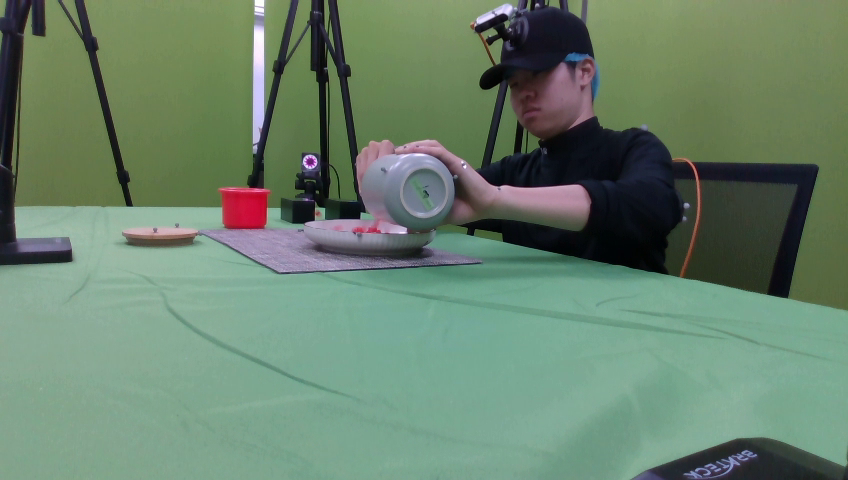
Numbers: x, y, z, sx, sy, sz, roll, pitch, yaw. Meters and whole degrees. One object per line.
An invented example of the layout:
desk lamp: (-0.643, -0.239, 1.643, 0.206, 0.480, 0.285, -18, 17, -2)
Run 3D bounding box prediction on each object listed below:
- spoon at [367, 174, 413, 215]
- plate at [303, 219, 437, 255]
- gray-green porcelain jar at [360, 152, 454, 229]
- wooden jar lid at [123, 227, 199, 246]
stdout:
spoon: (-0.060, -0.074, 0.920, 0.042, 0.021, 0.193, 28, 5, -28)
plate: (-0.084, -0.005, 0.952, 0.208, 0.039, 0.207, 3, 7, 0)
gray-green porcelain jar: (-0.023, -0.071, 0.855, 0.106, 0.106, 0.126, 0, 6, -22)
wooden jar lid: (-0.408, -0.006, 0.942, 0.108, 0.020, 0.108, 3, 6, 0)
